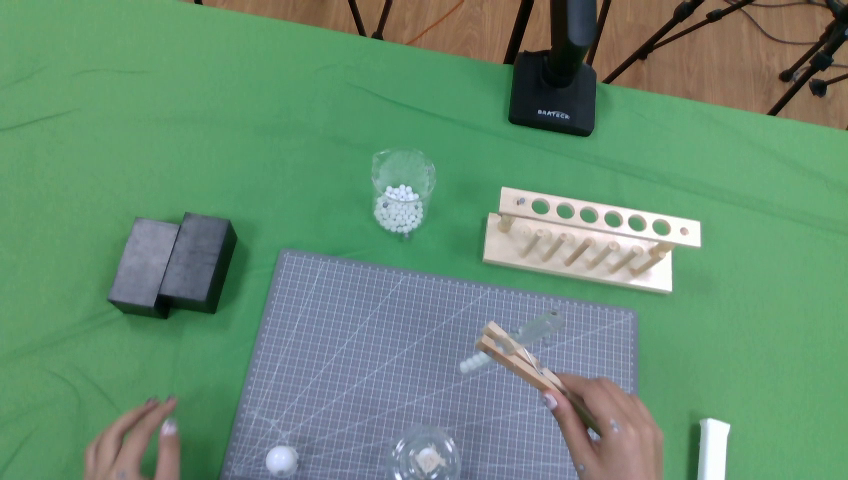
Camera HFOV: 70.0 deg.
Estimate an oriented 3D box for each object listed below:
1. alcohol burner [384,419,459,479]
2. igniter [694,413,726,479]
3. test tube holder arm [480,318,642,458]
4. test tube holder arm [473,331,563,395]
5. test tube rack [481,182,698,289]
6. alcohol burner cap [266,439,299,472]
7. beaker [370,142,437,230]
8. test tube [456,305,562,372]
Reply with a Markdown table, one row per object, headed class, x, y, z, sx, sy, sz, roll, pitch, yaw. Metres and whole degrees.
| class | x | y | z | sx | sy | sz | roll | pitch | yaw |
| --- | --- | --- | --- | --- | --- | --- | --- | --- | --- |
| alcohol burner | -0.001 | 0.219 | 0.613 | 0.078 | 0.120 | 0.077 | 3 | 66 | -7 |
| igniter | 0.303 | 0.328 | 0.658 | 0.057 | 0.025 | 0.275 | 20 | 67 | -10 |
| test tube holder arm | 0.118 | 0.128 | 0.519 | 0.179 | 0.015 | 0.013 | 40 | 58 | -5 |
| test tube holder arm | 0.080 | 0.104 | 0.511 | 0.088 | 0.015 | 0.010 | 34 | 58 | -9 |
| test tube rack | 0.200 | -0.003 | 0.746 | 0.242 | 0.085 | 0.066 | 10 | 67 | -3 |
| alcohol burner cap | -0.148 | 0.224 | 0.632 | 0.034 | 0.048 | 0.033 | 3 | 68 | -6 |
| beaker | -0.031 | -0.063 | 0.734 | 0.083 | 0.101 | 0.074 | 36 | 68 | 9 |
| test tube | 0.065 | 0.086 | 0.508 | 0.017 | 0.150 | 0.017 | 12 | 60 | -22 |
